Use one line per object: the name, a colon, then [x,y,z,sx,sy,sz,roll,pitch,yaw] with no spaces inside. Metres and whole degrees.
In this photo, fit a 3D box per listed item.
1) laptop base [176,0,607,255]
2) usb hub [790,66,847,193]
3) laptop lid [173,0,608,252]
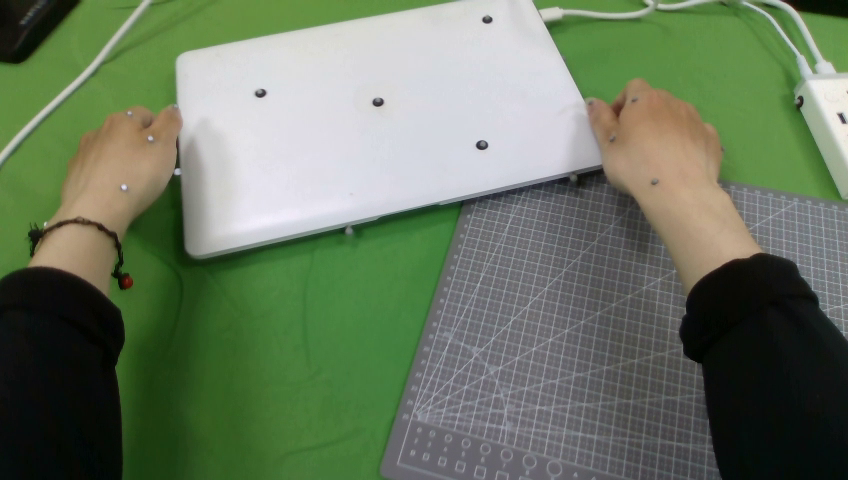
laptop base: [-0.042,-0.119,0.551,0.355,0.023,0.233,-13,61,-5]
usb hub: [0.360,-0.097,0.518,0.049,0.025,0.124,-2,58,1]
laptop lid: [-0.042,-0.125,0.539,0.357,0.013,0.239,-12,60,-5]
